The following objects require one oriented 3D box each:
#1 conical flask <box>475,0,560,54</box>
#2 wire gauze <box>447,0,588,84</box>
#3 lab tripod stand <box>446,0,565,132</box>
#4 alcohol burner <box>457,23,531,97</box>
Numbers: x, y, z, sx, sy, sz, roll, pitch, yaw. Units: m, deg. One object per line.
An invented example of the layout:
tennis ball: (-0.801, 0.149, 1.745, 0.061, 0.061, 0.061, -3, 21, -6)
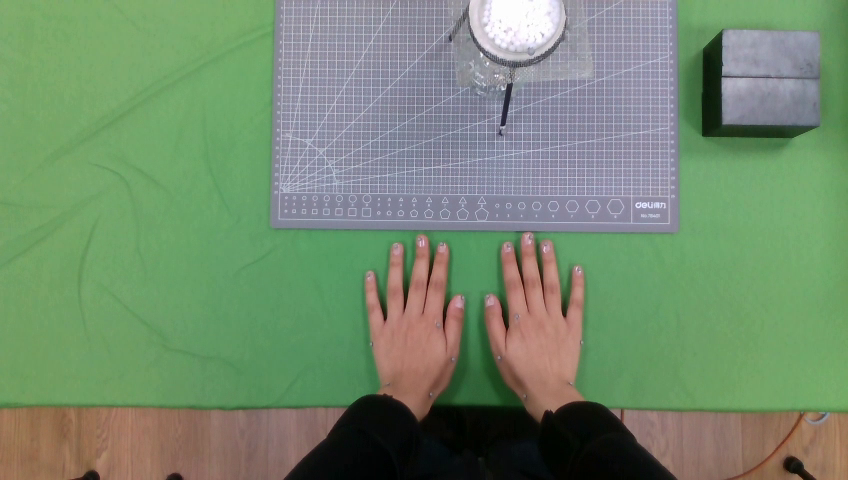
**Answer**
conical flask: (0.082, -0.207, 0.488, 0.075, 0.122, 0.075, 0, 85, 1)
wire gauze: (0.083, -0.202, 0.548, 0.125, 0.011, 0.121, -4, 88, -2)
lab tripod stand: (0.088, -0.199, 0.613, 0.148, 0.132, 0.148, 0, 84, 1)
alcohol burner: (0.074, -0.191, 0.622, 0.078, 0.119, 0.077, 0, 86, 0)
